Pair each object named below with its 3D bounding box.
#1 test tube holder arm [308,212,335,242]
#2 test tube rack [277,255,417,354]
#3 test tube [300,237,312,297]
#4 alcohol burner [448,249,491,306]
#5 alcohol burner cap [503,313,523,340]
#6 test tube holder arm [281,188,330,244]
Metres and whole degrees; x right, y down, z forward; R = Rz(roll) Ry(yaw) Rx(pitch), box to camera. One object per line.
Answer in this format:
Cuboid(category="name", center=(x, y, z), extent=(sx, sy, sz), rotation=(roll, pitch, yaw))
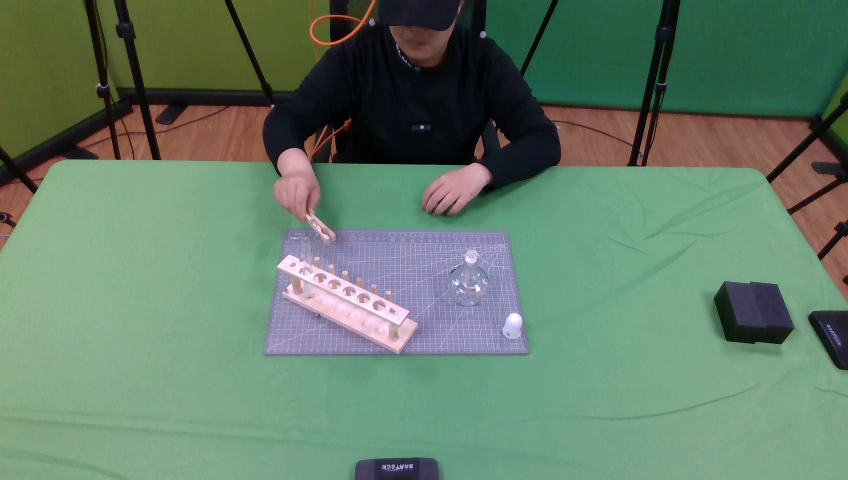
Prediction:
Cuboid(category="test tube holder arm", center=(-0.194, -0.025, 1.122), extent=(0.010, 0.015, 0.087), rotation=(-28, 51, -34))
Cuboid(category="test tube rack", center=(-0.131, 0.099, 1.045), extent=(0.241, 0.085, 0.066), rotation=(23, 49, 17))
Cuboid(category="test tube", center=(-0.198, 0.049, 1.019), extent=(0.017, 0.151, 0.017), rotation=(4, 49, -5))
Cuboid(category="alcohol burner", center=(0.081, 0.062, 1.078), extent=(0.078, 0.120, 0.077), rotation=(1, 45, -1))
Cuboid(category="alcohol burner cap", center=(0.155, 0.147, 1.051), extent=(0.034, 0.048, 0.033), rotation=(1, 45, -1))
Cuboid(category="test tube holder arm", center=(-0.226, -0.048, 1.144), extent=(0.013, 0.015, 0.177), rotation=(-24, 49, -31))
